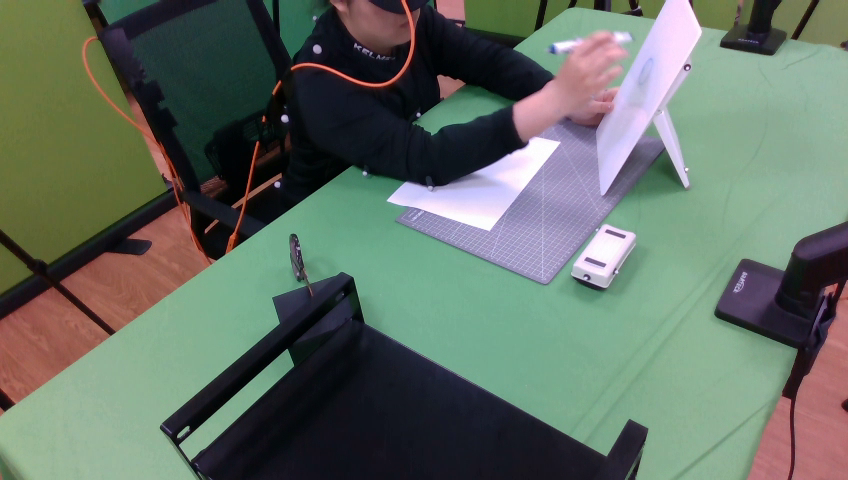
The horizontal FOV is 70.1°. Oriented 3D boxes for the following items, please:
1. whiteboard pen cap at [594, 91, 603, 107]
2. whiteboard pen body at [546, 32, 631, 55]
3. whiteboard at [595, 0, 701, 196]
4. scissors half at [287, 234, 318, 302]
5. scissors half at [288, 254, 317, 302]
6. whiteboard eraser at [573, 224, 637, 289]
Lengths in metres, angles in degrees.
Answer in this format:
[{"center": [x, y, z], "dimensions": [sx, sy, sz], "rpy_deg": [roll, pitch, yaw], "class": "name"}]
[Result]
[{"center": [0.364, -0.294, 1.262], "dimensions": [0.018, 0.033, 0.018], "rpy_deg": [-5, 41, 5], "class": "whiteboard pen cap"}, {"center": [0.259, -0.310, 0.948], "dimensions": [0.141, 0.017, 0.017], "rpy_deg": [-13, 40, -7], "class": "whiteboard pen body"}, {"center": [0.421, -0.227, 1.010], "dimensions": [0.144, 0.305, 0.216], "rpy_deg": [18, 42, -2], "class": "whiteboard"}, {"center": [-0.178, 0.040, 0.885], "dimensions": [0.013, 0.040, 0.173], "rpy_deg": [-11, 36, -21], "class": "scissors half"}, {"center": [-0.177, 0.058, 0.894], "dimensions": [0.013, 0.040, 0.174], "rpy_deg": [-16, 20, -18], "class": "scissors half"}, {"center": [0.267, 0.025, 0.891], "dimensions": [0.055, 0.042, 0.113], "rpy_deg": [19, 47, 31], "class": "whiteboard eraser"}]
